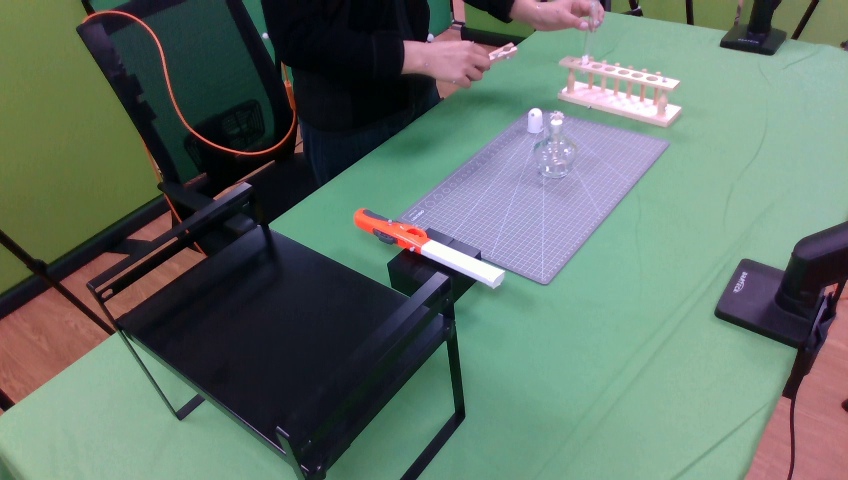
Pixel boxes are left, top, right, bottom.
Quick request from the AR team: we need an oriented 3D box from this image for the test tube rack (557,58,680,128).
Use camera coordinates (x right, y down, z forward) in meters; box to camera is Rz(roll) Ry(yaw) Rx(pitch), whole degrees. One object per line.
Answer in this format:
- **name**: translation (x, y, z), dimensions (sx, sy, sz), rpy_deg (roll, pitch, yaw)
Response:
- **test tube rack**: translation (0.395, -0.309, 1.230), dimensions (0.240, 0.085, 0.067), rpy_deg (25, 51, 33)

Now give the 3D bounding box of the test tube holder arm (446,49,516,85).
- **test tube holder arm**: translation (0.111, -0.332, 1.154), dimensions (0.179, 0.015, 0.013), rpy_deg (-32, 60, -29)

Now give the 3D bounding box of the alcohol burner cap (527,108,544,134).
- **alcohol burner cap**: translation (0.223, -0.239, 1.203), dimensions (0.034, 0.048, 0.033), rpy_deg (-5, 42, 5)

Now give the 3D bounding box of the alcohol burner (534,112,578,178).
- **alcohol burner**: translation (0.232, -0.170, 1.065), dimensions (0.078, 0.119, 0.077), rpy_deg (-5, 39, 5)

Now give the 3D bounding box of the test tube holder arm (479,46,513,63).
- **test tube holder arm**: translation (0.140, -0.357, 1.179), dimensions (0.088, 0.015, 0.010), rpy_deg (-33, 61, -30)

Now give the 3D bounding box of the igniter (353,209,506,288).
- **igniter**: translation (-0.003, 0.006, 0.892), dimensions (0.274, 0.025, 0.057), rpy_deg (24, 37, 31)

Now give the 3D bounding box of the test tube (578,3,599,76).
- **test tube**: translation (0.325, -0.394, 1.198), dimensions (0.017, 0.151, 0.017), rpy_deg (0, 45, 1)
